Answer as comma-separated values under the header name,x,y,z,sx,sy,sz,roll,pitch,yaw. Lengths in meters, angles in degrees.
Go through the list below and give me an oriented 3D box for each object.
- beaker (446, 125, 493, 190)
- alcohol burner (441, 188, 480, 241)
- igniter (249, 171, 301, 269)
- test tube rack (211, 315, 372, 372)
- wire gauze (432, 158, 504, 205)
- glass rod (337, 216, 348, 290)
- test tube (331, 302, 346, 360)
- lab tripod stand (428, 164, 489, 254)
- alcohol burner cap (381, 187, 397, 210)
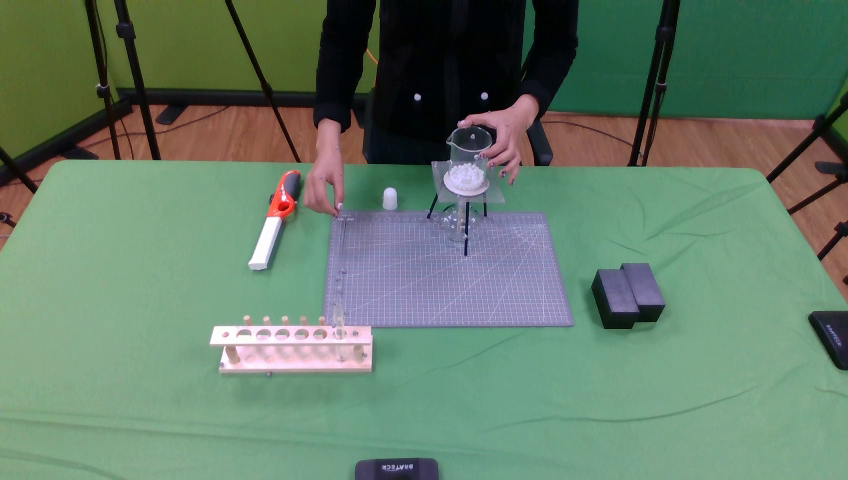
name,x,y,z,sx,sy,sz,roll,pitch,yaw
beaker,0.079,-0.148,1.106,0.084,0.101,0.073,-3,47,-6
alcohol burner,0.073,-0.055,1.189,0.078,0.120,0.077,1,48,-1
igniter,-0.297,-0.049,1.221,0.057,0.025,0.275,-2,45,9
test tube rack,-0.208,0.163,0.982,0.242,0.085,0.066,1,46,-4
wire gauze,0.081,-0.111,1.138,0.125,0.011,0.120,0,48,-7
glass rod,-0.157,0.021,1.171,0.008,0.008,0.198,1,44,-2
test tube,-0.132,0.144,0.938,0.017,0.151,0.017,2,49,-3
lab tripod stand,0.078,-0.068,1.188,0.148,0.132,0.147,3,47,-3
alcohol burner cap,-0.072,-0.089,1.266,0.034,0.048,0.033,3,47,-3
